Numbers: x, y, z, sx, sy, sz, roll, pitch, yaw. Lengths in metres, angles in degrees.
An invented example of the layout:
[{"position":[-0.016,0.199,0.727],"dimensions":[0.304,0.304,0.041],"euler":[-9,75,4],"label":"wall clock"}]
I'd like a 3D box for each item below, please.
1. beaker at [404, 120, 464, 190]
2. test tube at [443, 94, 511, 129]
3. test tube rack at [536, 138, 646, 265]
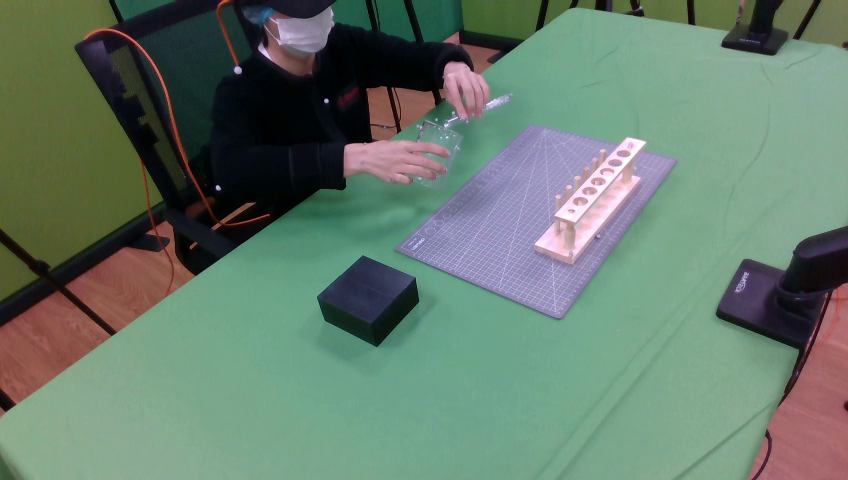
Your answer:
[{"position":[0.014,-0.141,1.015],"dimensions":[0.074,0.100,0.084],"euler":[23,8,3],"label":"beaker"},{"position":[0.095,-0.224,1.053],"dimensions":[0.151,0.017,0.017],"euler":[-28,44,-27],"label":"test tube"},{"position":[0.268,-0.071,0.964],"dimensions":[0.066,0.085,0.243],"euler":[23,49,32],"label":"test tube rack"}]
